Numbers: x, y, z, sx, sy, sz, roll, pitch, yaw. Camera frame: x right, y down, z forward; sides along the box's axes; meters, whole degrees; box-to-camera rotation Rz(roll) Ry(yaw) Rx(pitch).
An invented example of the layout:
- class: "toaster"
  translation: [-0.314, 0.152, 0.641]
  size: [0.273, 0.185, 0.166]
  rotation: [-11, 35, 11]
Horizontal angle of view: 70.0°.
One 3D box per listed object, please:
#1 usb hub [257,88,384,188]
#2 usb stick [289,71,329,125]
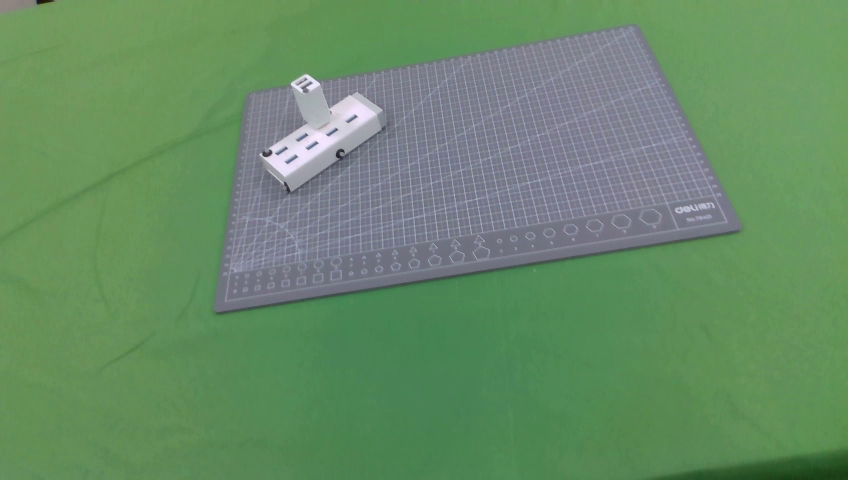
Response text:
- class: "usb hub"
  translation: [-0.104, -0.106, 0.618]
  size: [0.125, 0.025, 0.049]
  rotation: [-38, 56, -18]
- class: "usb stick"
  translation: [-0.112, -0.136, 0.605]
  size: [0.021, 0.060, 0.027]
  rotation: [-40, 55, -19]
